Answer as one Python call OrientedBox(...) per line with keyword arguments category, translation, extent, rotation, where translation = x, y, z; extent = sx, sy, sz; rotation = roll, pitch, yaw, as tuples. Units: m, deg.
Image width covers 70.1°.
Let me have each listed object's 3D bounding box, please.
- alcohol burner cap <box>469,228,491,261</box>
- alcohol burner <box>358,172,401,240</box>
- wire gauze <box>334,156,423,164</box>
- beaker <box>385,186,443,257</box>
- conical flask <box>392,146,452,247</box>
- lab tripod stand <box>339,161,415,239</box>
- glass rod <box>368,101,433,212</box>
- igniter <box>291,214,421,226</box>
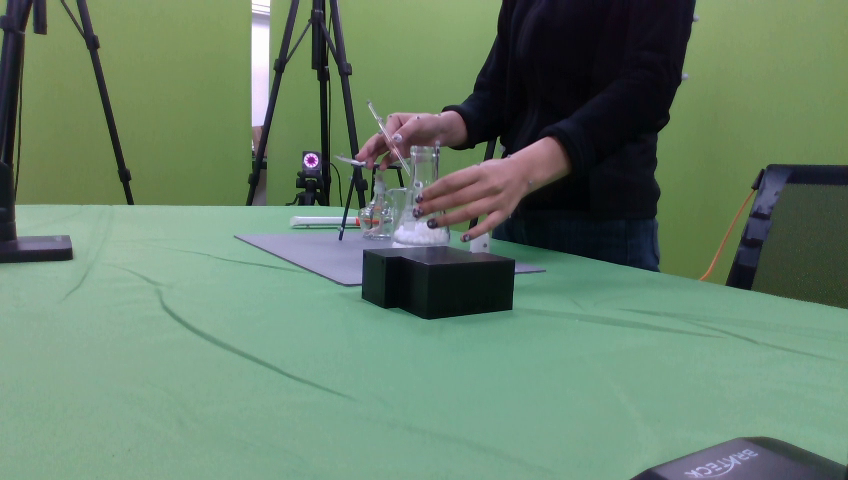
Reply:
OrientedBox(category="alcohol burner cap", translation=(0.082, 0.006, 0.878), extent=(0.034, 0.048, 0.034), rotation=(3, 5, 0))
OrientedBox(category="alcohol burner", translation=(-0.077, -0.061, 1.065), extent=(0.078, 0.119, 0.078), rotation=(4, 9, 0))
OrientedBox(category="wire gauze", translation=(-0.081, -0.137, 1.051), extent=(0.122, 0.011, 0.124), rotation=(0, 8, -30))
OrientedBox(category="beaker", translation=(-0.016, -0.028, 0.886), extent=(0.084, 0.100, 0.074), rotation=(1, 7, -9))
OrientedBox(category="conical flask", translation=(-0.001, -0.055, 0.750), extent=(0.075, 0.122, 0.075), rotation=(2, 9, 0))
OrientedBox(category="lab tripod stand", translation=(-0.082, -0.070, 1.059), extent=(0.148, 0.131, 0.148), rotation=(4, 6, 0))
OrientedBox(category="glass rod", translation=(-0.036, -0.125, 0.892), extent=(0.008, 0.199, 0.008), rotation=(-28, -14, -7))
OrientedBox(category="igniter", translation=(-0.135, -0.041, 1.250), extent=(0.278, 0.025, 0.057), rotation=(-1, -3, -28))
